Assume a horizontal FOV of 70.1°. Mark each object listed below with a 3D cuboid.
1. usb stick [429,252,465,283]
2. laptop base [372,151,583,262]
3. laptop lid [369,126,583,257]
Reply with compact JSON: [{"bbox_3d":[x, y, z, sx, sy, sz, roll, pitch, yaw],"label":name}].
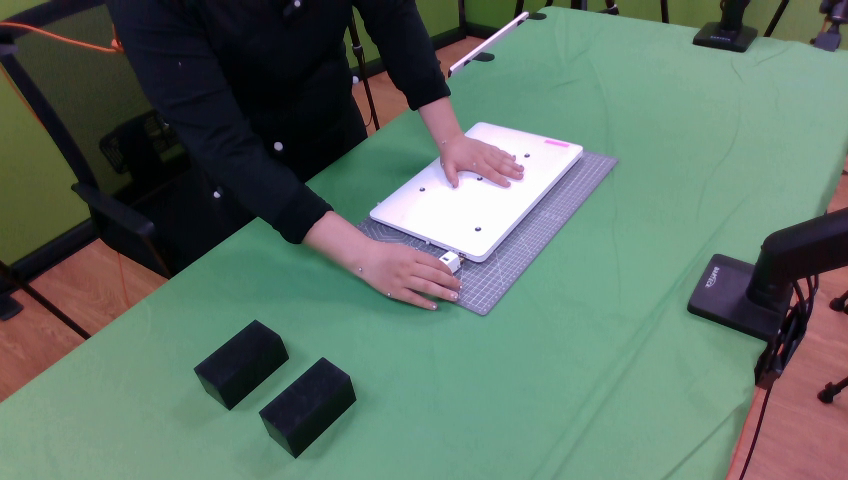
[{"bbox_3d":[0.037,0.037,0.909,0.059,0.027,0.021,-34,42,-27],"label":"usb stick"},{"bbox_3d":[0.101,-0.096,1.071,0.233,0.023,0.355,19,46,33],"label":"laptop base"},{"bbox_3d":[0.098,-0.104,1.066,0.239,0.013,0.358,21,47,34],"label":"laptop lid"}]
